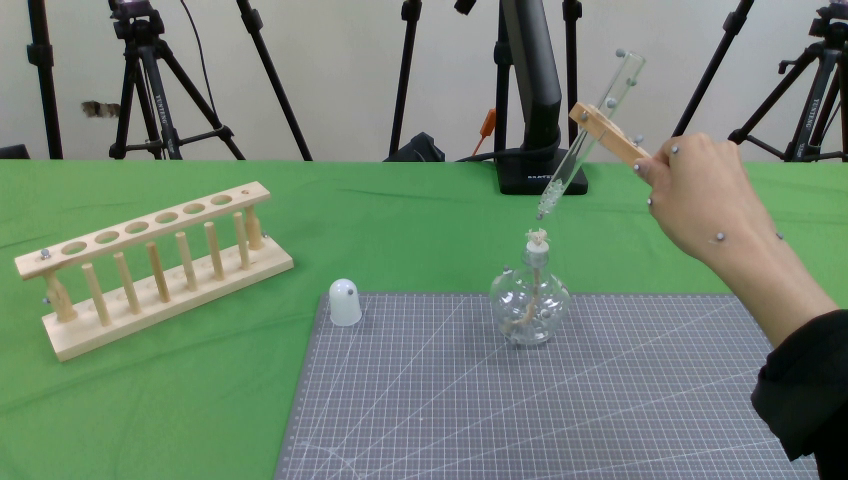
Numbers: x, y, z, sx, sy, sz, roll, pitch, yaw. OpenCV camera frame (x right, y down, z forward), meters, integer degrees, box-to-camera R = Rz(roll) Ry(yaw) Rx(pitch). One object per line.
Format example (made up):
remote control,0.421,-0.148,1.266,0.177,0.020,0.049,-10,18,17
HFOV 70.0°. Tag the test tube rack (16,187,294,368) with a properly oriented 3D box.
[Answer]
test tube rack,-0.264,0.030,0.626,0.243,0.086,0.066,-24,40,-31

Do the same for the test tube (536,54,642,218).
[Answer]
test tube,0.131,-0.080,0.494,0.017,0.151,0.017,18,32,-11

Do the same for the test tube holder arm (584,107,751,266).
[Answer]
test tube holder arm,0.172,-0.046,0.449,0.013,0.015,0.176,-2,43,-36

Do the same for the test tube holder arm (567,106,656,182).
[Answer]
test tube holder arm,0.145,-0.075,0.470,0.010,0.015,0.087,-9,48,-43

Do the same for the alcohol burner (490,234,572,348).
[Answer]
alcohol burner,0.102,0.043,0.570,0.078,0.120,0.077,0,36,0

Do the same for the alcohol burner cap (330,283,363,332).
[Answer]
alcohol burner cap,-0.079,0.065,0.606,0.034,0.048,0.033,0,35,0
